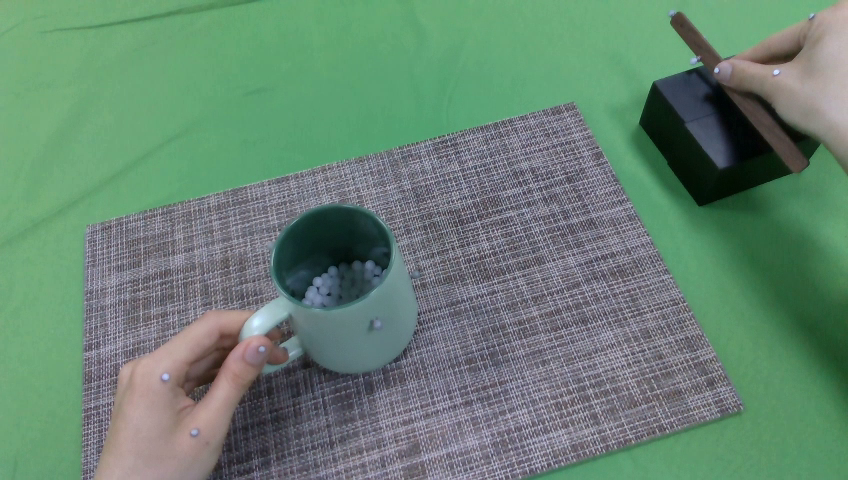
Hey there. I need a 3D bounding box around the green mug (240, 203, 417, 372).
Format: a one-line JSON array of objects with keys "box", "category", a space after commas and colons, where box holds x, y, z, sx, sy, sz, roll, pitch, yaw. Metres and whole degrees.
[{"box": [-0.066, 0.045, 0.415, 0.125, 0.106, 0.091, -36, 63, -16], "category": "green mug"}]

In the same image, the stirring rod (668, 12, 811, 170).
[{"box": [0.248, -0.124, 0.485, 0.006, 0.014, 0.174, -4, 56, -34], "category": "stirring rod"}]
